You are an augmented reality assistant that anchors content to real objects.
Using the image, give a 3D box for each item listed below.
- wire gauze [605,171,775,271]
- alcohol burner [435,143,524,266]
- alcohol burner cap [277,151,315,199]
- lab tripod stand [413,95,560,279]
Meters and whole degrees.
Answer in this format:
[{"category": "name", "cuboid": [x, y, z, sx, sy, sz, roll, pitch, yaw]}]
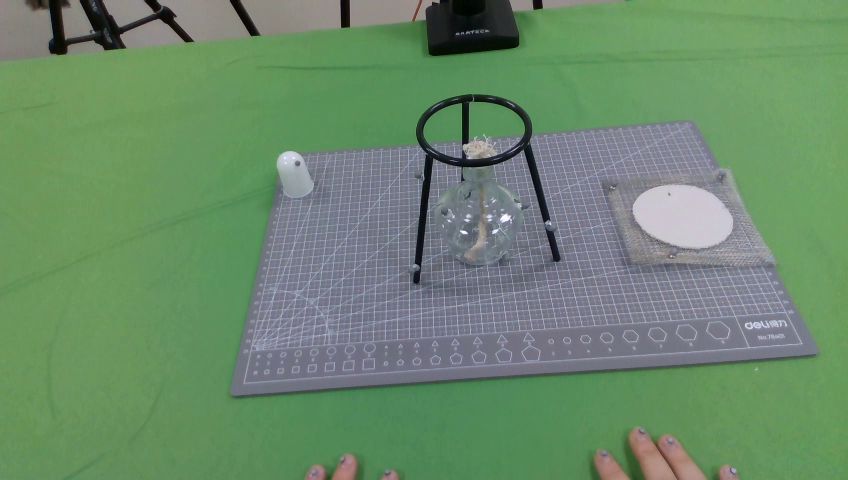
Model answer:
[{"category": "wire gauze", "cuboid": [0.239, -0.020, 0.555, 0.125, 0.011, 0.120, -1, 47, 3]}, {"category": "alcohol burner", "cuboid": [0.047, -0.034, 0.516, 0.078, 0.120, 0.077, -2, 46, 2]}, {"category": "alcohol burner cap", "cuboid": [-0.132, -0.069, 0.618, 0.034, 0.048, 0.033, -2, 47, 3]}, {"category": "lab tripod stand", "cuboid": [0.048, -0.043, 0.511, 0.148, 0.133, 0.147, -2, 45, 2]}]
